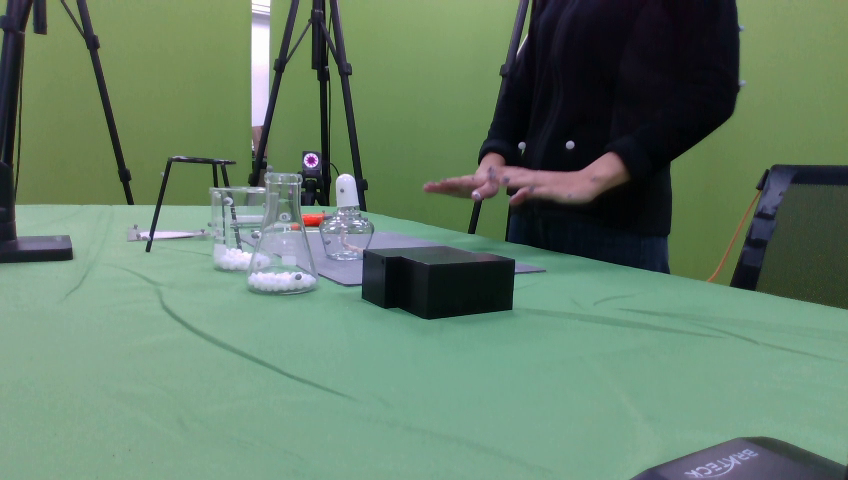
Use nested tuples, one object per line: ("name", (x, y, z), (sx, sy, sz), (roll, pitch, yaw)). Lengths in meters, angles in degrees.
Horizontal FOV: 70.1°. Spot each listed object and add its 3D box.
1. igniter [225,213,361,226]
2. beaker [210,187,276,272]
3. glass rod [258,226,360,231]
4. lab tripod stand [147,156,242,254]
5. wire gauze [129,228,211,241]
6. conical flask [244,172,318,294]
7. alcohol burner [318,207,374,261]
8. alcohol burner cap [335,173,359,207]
("igniter", (-0.257, -0.042, 1.221), (0.278, 0.025, 0.057), (-2, -2, -32))
("beaker", (-0.224, -0.014, 0.738), (0.084, 0.100, 0.074), (4, 7, 16))
("glass rod", (-0.215, -0.022, 1.151), (0.201, 0.008, 0.008), (-2, 8, -27))
("lab tripod stand", (-0.310, -0.050, 0.858), (0.148, 0.131, 0.148), (4, 6, 0))
("wire gauze", (-0.419, -0.010, 0.999), (0.122, 0.011, 0.124), (0, 6, -25))
("conical flask", (-0.147, -0.009, 0.628), (0.075, 0.122, 0.075), (2, 7, 0))
("alcohol burner", (-0.107, -0.032, 0.833), (0.078, 0.119, 0.078), (1, 6, 0))
("alcohol burner cap", (-0.108, -0.068, 0.829), (0.034, 0.048, 0.034), (-7, 4, 1))
